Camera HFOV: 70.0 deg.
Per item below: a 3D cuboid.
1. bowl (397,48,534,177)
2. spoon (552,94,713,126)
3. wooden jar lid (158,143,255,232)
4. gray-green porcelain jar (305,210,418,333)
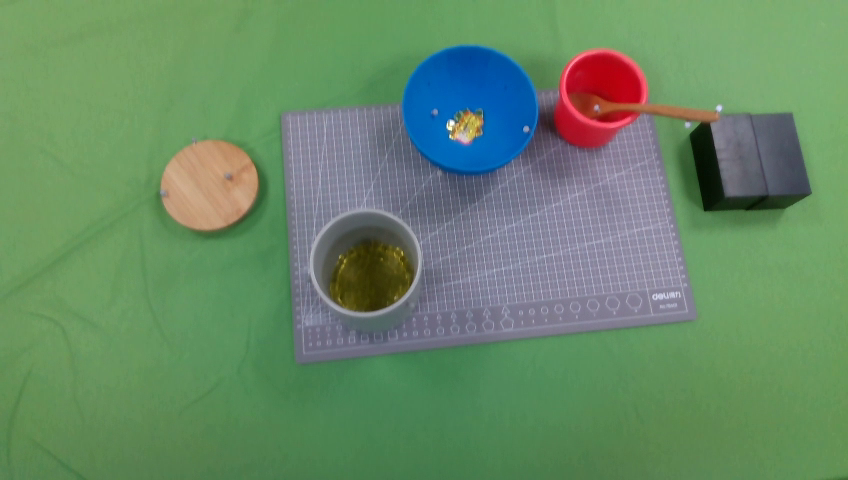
[{"bbox_3d":[0.045,-0.133,0.695,0.151,0.077,0.150,1,75,-2],"label":"bowl"},{"bbox_3d":[0.222,-0.140,0.669,0.022,0.192,0.041,41,76,-38],"label":"spoon"},{"bbox_3d":[-0.248,-0.059,0.699,0.108,0.021,0.108,0,75,-1],"label":"wooden jar lid"},{"bbox_3d":[-0.059,0.038,0.621,0.106,0.127,0.105,1,74,-2],"label":"gray-green porcelain jar"}]
